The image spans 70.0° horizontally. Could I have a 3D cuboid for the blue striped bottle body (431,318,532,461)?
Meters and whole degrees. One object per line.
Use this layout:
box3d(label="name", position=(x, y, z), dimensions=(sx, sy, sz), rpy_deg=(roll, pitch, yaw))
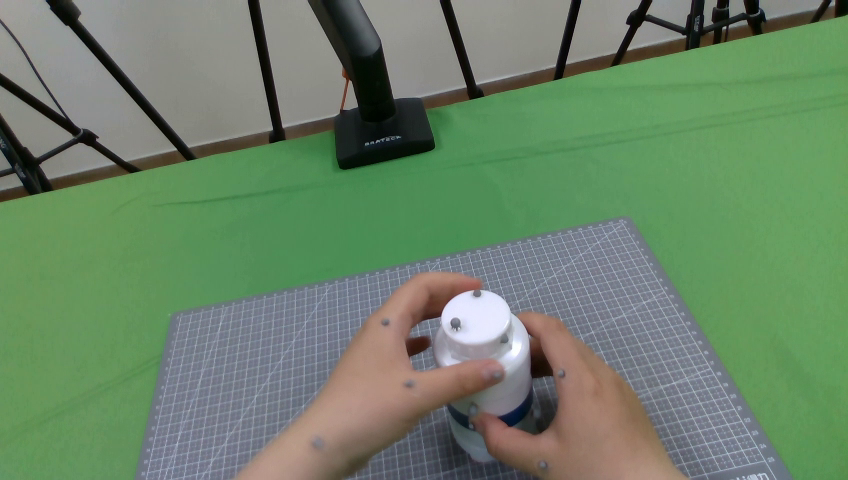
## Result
box3d(label="blue striped bottle body", position=(0.040, 0.092, 0.407), dimensions=(0.063, 0.122, 0.062), rpy_deg=(-5, 43, 5))

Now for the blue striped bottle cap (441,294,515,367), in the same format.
box3d(label="blue striped bottle cap", position=(0.033, 0.055, 0.372), dimensions=(0.044, 0.021, 0.044), rpy_deg=(-9, 41, 8))
